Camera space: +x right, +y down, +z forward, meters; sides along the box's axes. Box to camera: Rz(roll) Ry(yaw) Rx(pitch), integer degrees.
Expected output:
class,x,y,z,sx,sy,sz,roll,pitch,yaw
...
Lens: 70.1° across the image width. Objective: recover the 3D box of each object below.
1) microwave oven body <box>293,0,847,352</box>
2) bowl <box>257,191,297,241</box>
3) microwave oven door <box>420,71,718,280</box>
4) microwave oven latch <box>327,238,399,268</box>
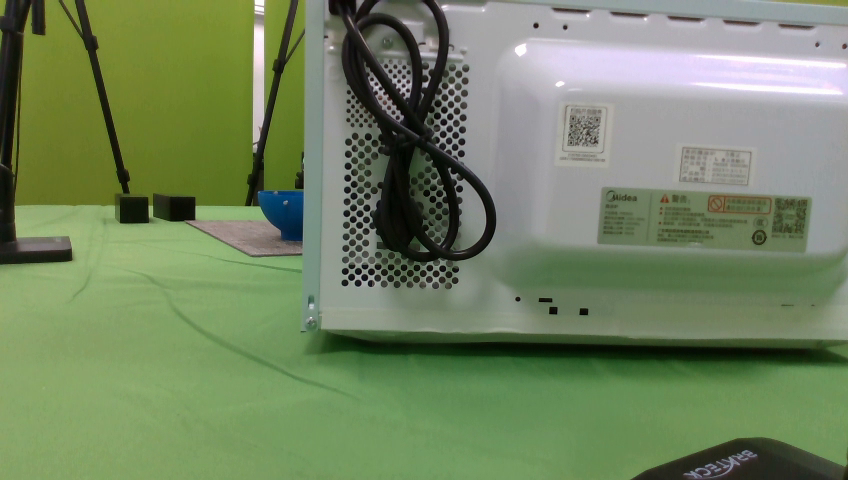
class,x,y,z,sx,sy,sz,roll,pitch,yaw
microwave oven body,0.122,-0.055,0.550,0.442,0.260,0.325,3,7,-5
bowl,-0.206,-0.041,1.027,0.151,0.077,0.151,3,8,0
microwave oven door,0.169,-0.087,0.771,0.355,0.243,0.039,5,7,21
microwave oven latch,-0.069,0.014,0.694,0.079,0.029,0.030,3,7,-2
